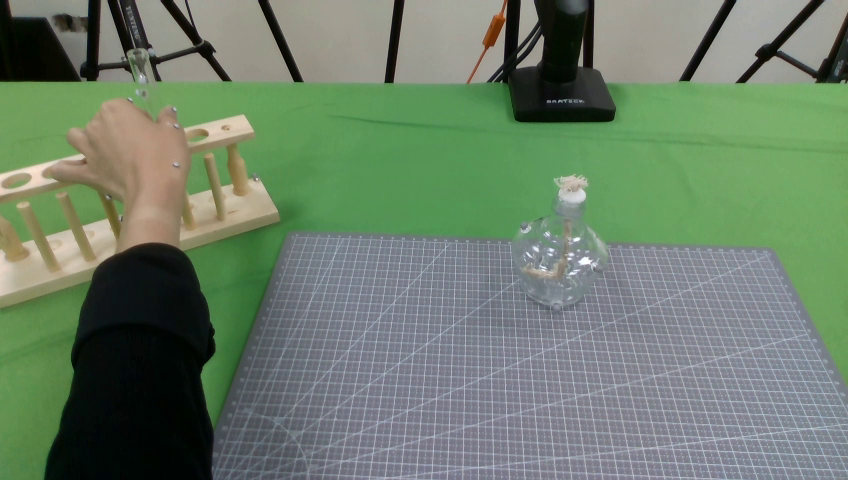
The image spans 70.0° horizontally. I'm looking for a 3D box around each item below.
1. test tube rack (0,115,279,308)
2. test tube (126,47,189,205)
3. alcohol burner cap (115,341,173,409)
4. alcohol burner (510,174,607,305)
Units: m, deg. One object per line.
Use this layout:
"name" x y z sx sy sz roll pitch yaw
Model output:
"test tube rack" -0.263 -0.031 0.539 0.243 0.086 0.066 -20 45 -20
"test tube" -0.233 -0.094 0.535 0.017 0.151 0.017 0 38 0
"alcohol burner cap" -0.203 0.094 0.433 0.034 0.048 0.033 0 41 1
"alcohol burner" 0.110 -0.005 0.483 0.078 0.120 0.077 1 43 -1
